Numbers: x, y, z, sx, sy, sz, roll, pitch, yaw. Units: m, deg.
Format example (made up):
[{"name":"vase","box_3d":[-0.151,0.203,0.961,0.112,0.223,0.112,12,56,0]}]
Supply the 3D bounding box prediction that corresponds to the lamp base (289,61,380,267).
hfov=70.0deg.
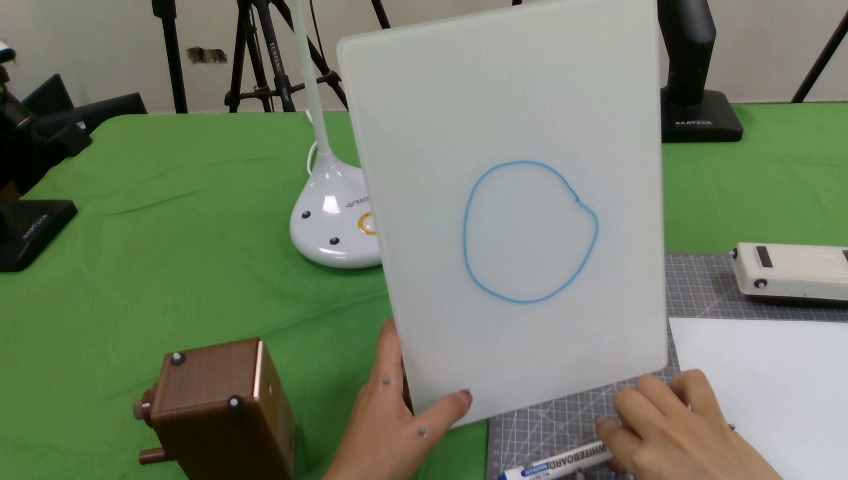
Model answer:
[{"name":"lamp base","box_3d":[-0.088,-0.089,0.646,0.160,0.182,0.177,-32,44,-28]}]

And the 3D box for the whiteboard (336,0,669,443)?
[{"name":"whiteboard","box_3d":[0.063,-0.027,0.500,0.217,0.307,0.142,-13,21,-7]}]

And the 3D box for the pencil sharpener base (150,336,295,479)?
[{"name":"pencil sharpener base","box_3d":[-0.145,0.131,0.445,0.077,0.108,0.060,-9,40,-3]}]

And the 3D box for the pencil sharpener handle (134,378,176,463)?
[{"name":"pencil sharpener handle","box_3d":[-0.196,0.132,0.431,0.031,0.068,0.035,-9,27,-3]}]

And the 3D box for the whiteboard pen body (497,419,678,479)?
[{"name":"whiteboard pen body","box_3d":[0.120,0.155,0.439,0.141,0.017,0.017,-18,41,-5]}]

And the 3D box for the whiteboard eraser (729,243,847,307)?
[{"name":"whiteboard eraser","box_3d":[0.343,0.032,0.550,0.112,0.042,0.055,3,42,11]}]
